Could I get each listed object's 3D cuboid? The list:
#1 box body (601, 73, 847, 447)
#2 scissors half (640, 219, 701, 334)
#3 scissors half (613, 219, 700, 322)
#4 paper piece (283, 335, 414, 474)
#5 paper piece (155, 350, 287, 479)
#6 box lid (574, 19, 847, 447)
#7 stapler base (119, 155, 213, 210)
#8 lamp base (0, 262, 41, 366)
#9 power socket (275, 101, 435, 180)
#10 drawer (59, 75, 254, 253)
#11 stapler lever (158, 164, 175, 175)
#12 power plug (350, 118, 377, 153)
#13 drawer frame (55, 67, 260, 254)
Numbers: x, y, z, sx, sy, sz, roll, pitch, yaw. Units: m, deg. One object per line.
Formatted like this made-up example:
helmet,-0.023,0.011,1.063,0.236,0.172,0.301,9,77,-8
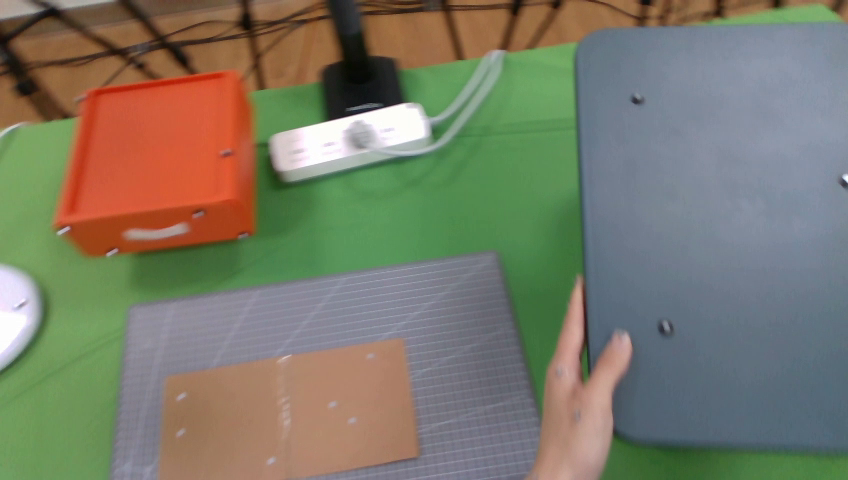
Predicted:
box body,0.324,0.015,0.629,0.254,0.162,0.361,3,59,6
scissors half,0.292,0.038,0.698,0.040,0.013,0.174,21,59,22
scissors half,0.276,0.030,0.708,0.175,0.013,0.039,-41,53,-20
paper piece,-0.084,0.171,0.647,0.135,0.004,0.134,-8,58,0
paper piece,-0.214,0.193,0.643,0.136,0.009,0.137,-10,59,1
box lid,0.256,-0.028,0.474,0.263,0.015,0.368,0,64,8
stapler base,-0.321,-0.074,0.742,0.130,0.024,0.041,18,78,17
lamp base,-0.552,0.051,0.652,0.178,0.182,0.160,20,61,18
power socket,-0.094,-0.137,0.826,0.227,0.033,0.071,-13,59,-5
drawer,-0.308,-0.097,0.735,0.194,0.074,0.209,-8,57,0
stapler lever,-0.329,-0.081,0.717,0.117,0.040,0.027,18,77,19
power plug,-0.079,-0.128,0.792,0.035,0.053,0.072,-4,58,1
drawer frame,-0.310,-0.099,0.736,0.202,0.083,0.211,-8,57,-1
